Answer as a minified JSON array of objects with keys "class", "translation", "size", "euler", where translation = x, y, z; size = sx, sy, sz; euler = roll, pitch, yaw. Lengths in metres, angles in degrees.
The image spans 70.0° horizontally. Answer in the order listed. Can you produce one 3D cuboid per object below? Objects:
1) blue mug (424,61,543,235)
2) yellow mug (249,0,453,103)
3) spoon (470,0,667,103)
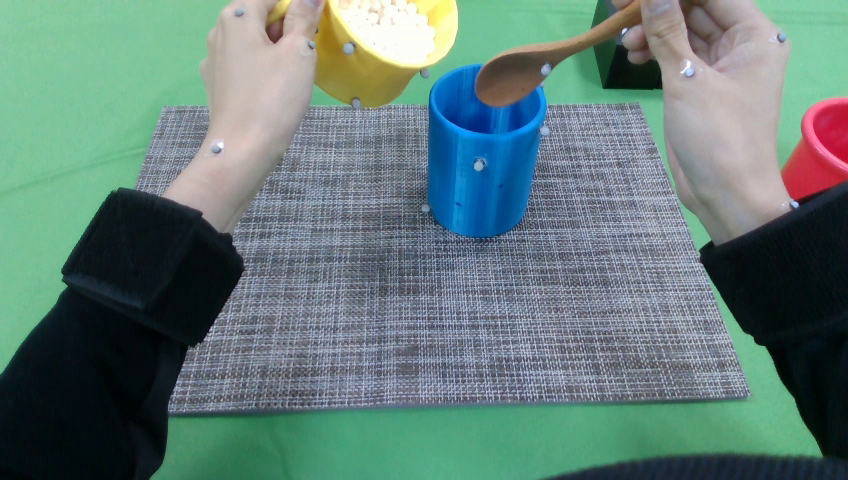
[{"class":"blue mug","translation":[0.052,-0.077,0.468],"size":[0.081,0.107,0.116],"euler":[36,59,24]},{"class":"yellow mug","translation":[-0.051,-0.147,0.403],"size":[0.131,0.064,0.100],"euler":[-18,87,-33]},{"class":"spoon","translation":[0.094,-0.120,0.343],"size":[0.042,0.193,0.021],"euler":[26,69,-29]}]
